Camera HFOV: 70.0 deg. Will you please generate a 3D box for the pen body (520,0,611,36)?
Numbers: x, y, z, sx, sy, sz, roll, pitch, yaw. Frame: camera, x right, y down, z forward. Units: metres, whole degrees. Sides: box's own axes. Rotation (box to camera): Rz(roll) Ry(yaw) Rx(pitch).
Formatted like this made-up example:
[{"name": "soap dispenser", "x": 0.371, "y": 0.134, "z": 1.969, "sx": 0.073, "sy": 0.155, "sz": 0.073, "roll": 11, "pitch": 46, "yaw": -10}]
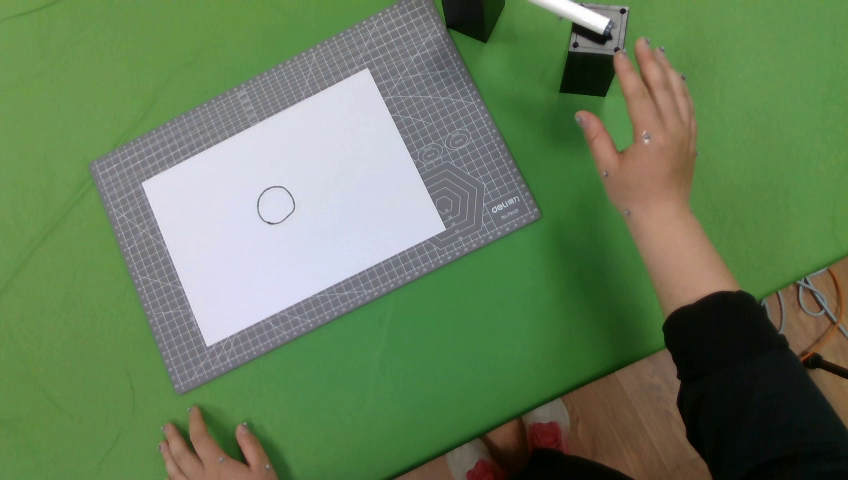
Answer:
[{"name": "pen body", "x": 0.107, "y": -0.227, "z": 0.572, "sx": 0.143, "sy": 0.017, "sz": 0.017, "roll": 28, "pitch": 87, "yaw": 10}]
